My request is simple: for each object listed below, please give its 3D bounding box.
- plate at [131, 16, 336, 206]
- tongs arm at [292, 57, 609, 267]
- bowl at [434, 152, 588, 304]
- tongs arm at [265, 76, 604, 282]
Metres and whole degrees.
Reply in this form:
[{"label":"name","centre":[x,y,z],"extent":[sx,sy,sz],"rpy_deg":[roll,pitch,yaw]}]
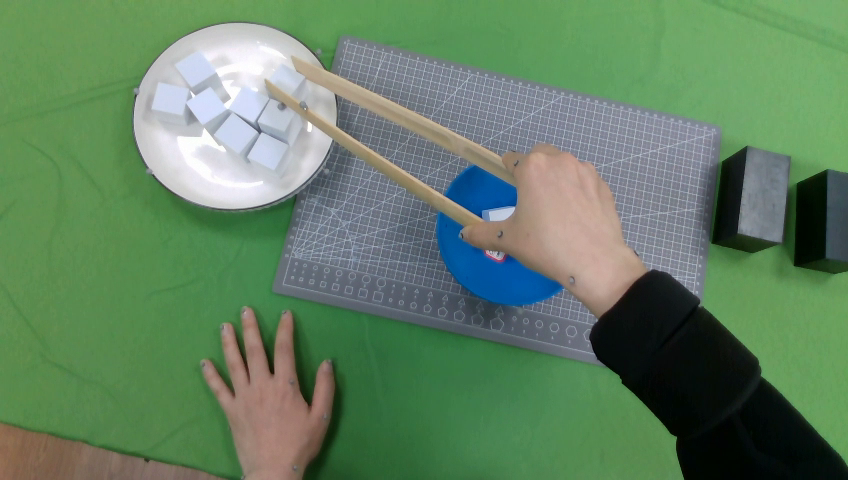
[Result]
[{"label":"plate","centre":[-0.195,-0.133,0.637],"extent":[0.208,0.039,0.206],"rpy_deg":[1,79,-4]},{"label":"tongs arm","centre":[0.001,-0.088,0.535],"extent":[0.384,0.028,0.028],"rpy_deg":[34,63,30]},{"label":"bowl","centre":[0.080,-0.006,0.615],"extent":[0.151,0.077,0.150],"rpy_deg":[1,79,-5]},{"label":"tongs arm","centre":[-0.015,-0.072,0.527],"extent":[0.051,0.027,0.381],"rpy_deg":[-40,56,-18]}]
